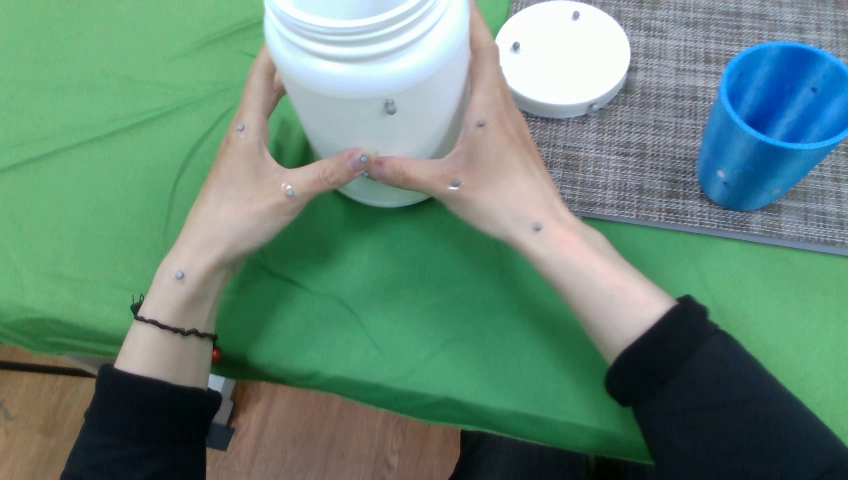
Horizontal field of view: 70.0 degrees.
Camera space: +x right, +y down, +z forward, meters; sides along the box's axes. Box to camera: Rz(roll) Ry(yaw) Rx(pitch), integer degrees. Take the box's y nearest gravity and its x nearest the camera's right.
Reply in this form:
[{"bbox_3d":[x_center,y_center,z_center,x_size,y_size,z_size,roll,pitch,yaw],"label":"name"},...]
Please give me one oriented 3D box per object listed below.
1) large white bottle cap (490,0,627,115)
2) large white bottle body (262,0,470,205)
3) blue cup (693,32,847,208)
[{"bbox_3d":[0.114,-0.158,0.517,0.115,0.018,0.114,-1,65,3],"label":"large white bottle cap"},{"bbox_3d":[-0.034,-0.122,0.424,0.130,0.186,0.129,-2,64,4],"label":"large white bottle body"},{"bbox_3d":[0.232,-0.072,0.420,0.092,0.101,0.092,-3,63,6],"label":"blue cup"}]
